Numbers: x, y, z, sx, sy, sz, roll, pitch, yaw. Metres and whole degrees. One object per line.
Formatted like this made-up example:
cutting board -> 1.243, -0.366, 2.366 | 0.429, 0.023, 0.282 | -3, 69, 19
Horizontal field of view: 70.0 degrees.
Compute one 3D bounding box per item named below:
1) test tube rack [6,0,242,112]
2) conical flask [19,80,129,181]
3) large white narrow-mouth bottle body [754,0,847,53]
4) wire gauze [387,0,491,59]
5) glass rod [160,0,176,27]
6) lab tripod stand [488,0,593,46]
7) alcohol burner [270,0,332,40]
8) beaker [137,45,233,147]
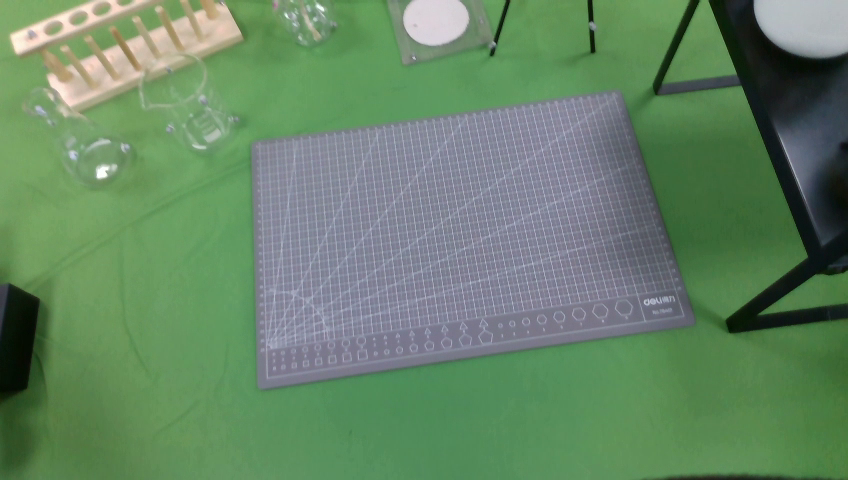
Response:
test tube rack -> -0.362, -0.256, 0.747 | 0.242, 0.086, 0.066 | -27, 69, -9
conical flask -> -0.392, -0.125, 0.673 | 0.075, 0.123, 0.075 | -1, 66, 3
large white narrow-mouth bottle body -> 0.337, -0.242, 0.456 | 0.102, 0.196, 0.101 | -1, 65, 3
wire gauze -> 0.016, -0.298, 0.789 | 0.121, 0.011, 0.124 | -13, 67, -4
glass rod -> -0.322, -0.321, 0.700 | 0.008, 0.201, 0.008 | 1, 65, -1
lab tripod stand -> 0.145, -0.302, 0.717 | 0.148, 0.132, 0.147 | 0, 66, 1
alcohol burner -> -0.155, -0.306, 0.744 | 0.078, 0.120, 0.077 | -1, 65, 2
beaker -> -0.271, -0.158, 0.694 | 0.073, 0.101, 0.084 | 37, 74, 17
